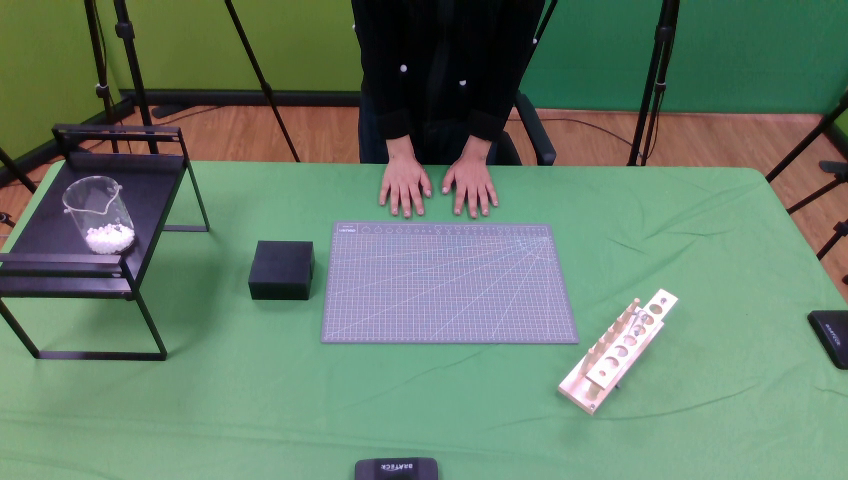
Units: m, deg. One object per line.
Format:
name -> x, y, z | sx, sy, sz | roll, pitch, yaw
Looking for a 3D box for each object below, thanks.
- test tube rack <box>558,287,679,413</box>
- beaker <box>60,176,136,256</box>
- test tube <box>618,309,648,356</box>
test tube rack -> 0.326, 0.170, 1.009 | 0.066, 0.085, 0.242 | 35, 54, 26
beaker -> -0.470, -0.031, 0.888 | 0.074, 0.101, 0.083 | -31, 56, -28
test tube -> 0.327, 0.154, 0.955 | 0.017, 0.151, 0.017 | -1, 51, 1
